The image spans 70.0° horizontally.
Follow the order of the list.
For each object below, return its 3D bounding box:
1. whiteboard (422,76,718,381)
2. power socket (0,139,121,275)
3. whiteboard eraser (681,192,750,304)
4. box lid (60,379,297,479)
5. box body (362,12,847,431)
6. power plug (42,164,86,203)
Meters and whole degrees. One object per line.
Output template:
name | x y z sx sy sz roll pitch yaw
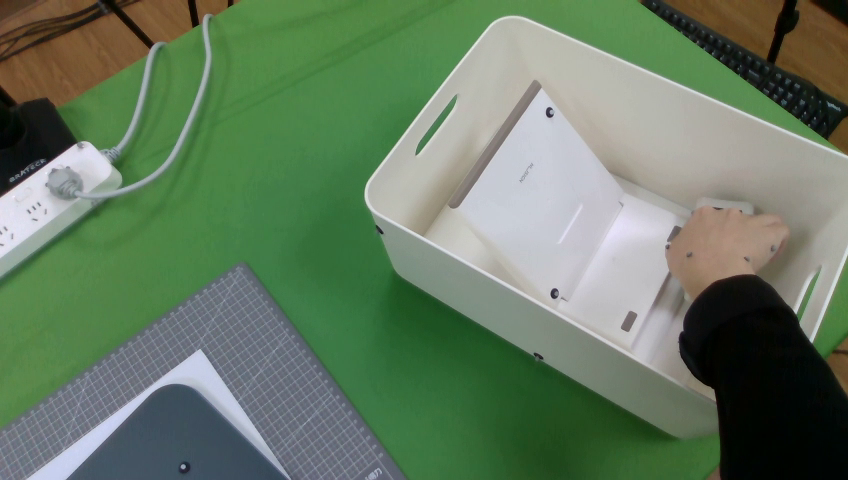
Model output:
whiteboard | 0.155 -0.021 0.589 0.304 0.145 0.216 28 69 16
power socket | -0.448 -0.029 0.681 0.226 0.033 0.071 -42 71 -16
whiteboard eraser | 0.284 0.008 0.589 0.055 0.042 0.112 11 60 15
box lid | -0.194 0.320 0.519 0.369 0.015 0.263 37 72 17
box body | 0.160 -0.016 0.575 0.362 0.161 0.253 29 70 15
power plug | -0.391 -0.053 0.665 0.035 0.053 0.072 -32 74 -12
